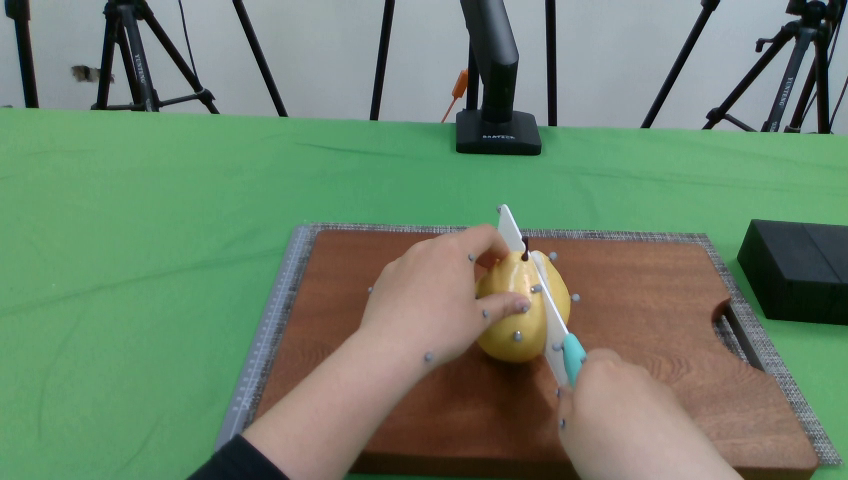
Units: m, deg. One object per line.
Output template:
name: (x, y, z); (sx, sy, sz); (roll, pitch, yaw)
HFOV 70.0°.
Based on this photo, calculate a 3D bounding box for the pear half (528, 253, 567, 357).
pear half: (0.096, 0.050, 0.485); (0.031, 0.088, 0.069); (-7, 28, -20)

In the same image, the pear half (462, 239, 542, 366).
pear half: (0.059, 0.046, 0.471); (0.056, 0.110, 0.075); (-9, 33, -15)

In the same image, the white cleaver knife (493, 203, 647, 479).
white cleaver knife: (0.097, 0.079, 0.441); (0.021, 0.066, 0.283); (-11, 45, -6)
